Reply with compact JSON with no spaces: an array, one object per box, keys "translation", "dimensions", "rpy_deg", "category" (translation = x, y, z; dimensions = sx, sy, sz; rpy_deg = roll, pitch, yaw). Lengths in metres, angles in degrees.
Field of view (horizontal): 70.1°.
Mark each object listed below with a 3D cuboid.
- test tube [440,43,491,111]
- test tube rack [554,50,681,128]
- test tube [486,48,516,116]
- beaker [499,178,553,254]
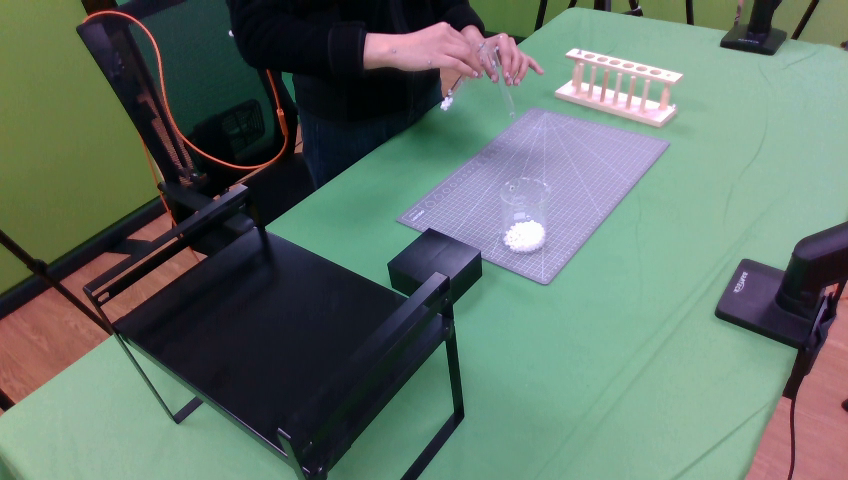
[{"translation":[0.068,-0.268,0.991],"dimensions":[0.017,0.017,0.150],"rpy_deg":[23,69,31],"category":"test tube"},{"translation":[0.387,-0.311,1.234],"dimensions":[0.240,0.085,0.067],"rpy_deg":[28,51,35],"category":"test tube rack"},{"translation":[0.139,-0.278,1.079],"dimensions":[0.017,0.151,0.017],"rpy_deg":[-13,51,17],"category":"test tube"},{"translation":[0.158,-0.036,0.929],"dimensions":[0.084,0.100,0.073],"rpy_deg":[-16,41,-12],"category":"beaker"}]
